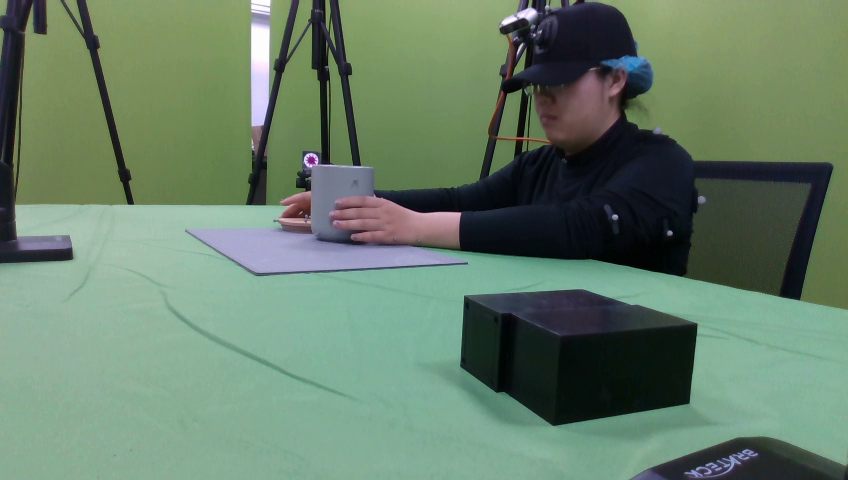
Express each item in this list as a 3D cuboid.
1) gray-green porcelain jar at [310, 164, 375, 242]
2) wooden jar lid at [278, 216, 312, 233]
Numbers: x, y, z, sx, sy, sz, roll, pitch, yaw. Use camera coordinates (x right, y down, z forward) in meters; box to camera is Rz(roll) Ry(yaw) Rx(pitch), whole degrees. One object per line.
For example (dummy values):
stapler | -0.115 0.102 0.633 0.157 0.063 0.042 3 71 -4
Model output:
gray-green porcelain jar | -0.139 -0.063 1.025 0.106 0.126 0.106 3 8 0
wooden jar lid | -0.220 -0.030 1.143 0.108 0.020 0.108 2 9 0
